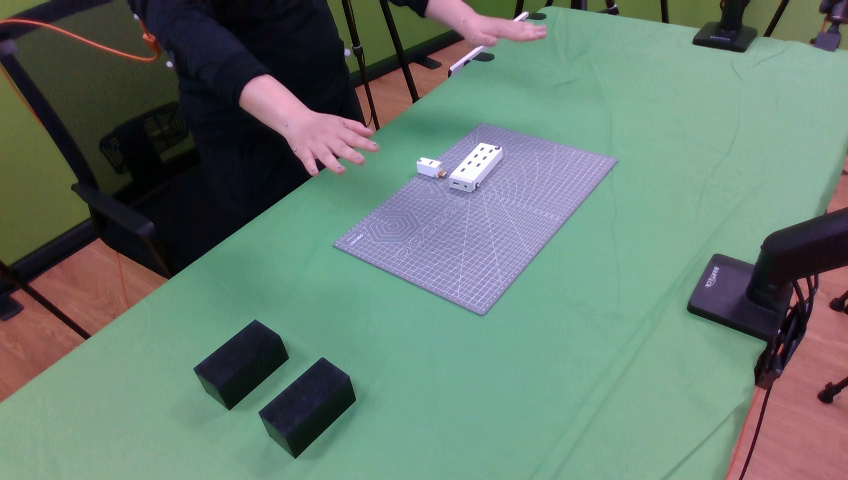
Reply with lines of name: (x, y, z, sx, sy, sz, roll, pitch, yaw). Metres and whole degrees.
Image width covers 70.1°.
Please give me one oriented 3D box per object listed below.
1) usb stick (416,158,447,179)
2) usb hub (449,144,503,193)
usb stick: (0.016, -0.130, 1.114, 0.059, 0.027, 0.021, 21, 44, 25)
usb hub: (0.096, -0.132, 1.105, 0.049, 0.025, 0.125, 18, 47, 27)
